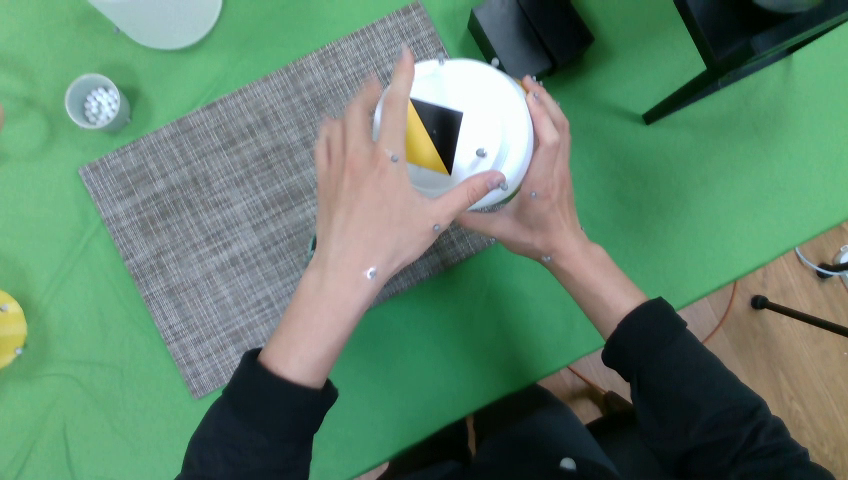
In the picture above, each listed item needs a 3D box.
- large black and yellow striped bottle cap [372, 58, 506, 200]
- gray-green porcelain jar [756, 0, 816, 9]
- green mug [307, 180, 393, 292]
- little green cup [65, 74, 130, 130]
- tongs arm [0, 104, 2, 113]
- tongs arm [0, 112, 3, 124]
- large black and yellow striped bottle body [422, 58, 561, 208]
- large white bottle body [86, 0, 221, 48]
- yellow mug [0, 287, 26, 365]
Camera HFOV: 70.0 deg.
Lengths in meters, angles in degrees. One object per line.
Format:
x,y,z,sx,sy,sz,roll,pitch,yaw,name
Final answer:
0.010,-0.089,0.495,0.114,0.019,0.115,4,99,26,large black and yellow striped bottle cap
0.330,-0.264,0.506,0.106,0.126,0.105,0,87,-1,gray-green porcelain jar
-0.085,-0.004,0.668,0.092,0.105,0.125,-11,88,-2,green mug
-0.374,-0.156,0.699,0.061,0.038,0.061,0,89,-3,little green cup
-0.650,-0.204,0.661,0.387,0.028,0.028,15,81,1,tongs arm
-0.659,-0.121,0.656,0.385,0.026,0.050,1,84,0,tongs arm
0.046,-0.097,0.572,0.130,0.184,0.131,3,98,25,large black and yellow striped bottle body
-0.304,-0.293,0.633,0.131,0.184,0.130,0,88,-1,large white bottle body
-0.513,0.114,0.671,0.100,0.064,0.130,5,89,-2,yellow mug
